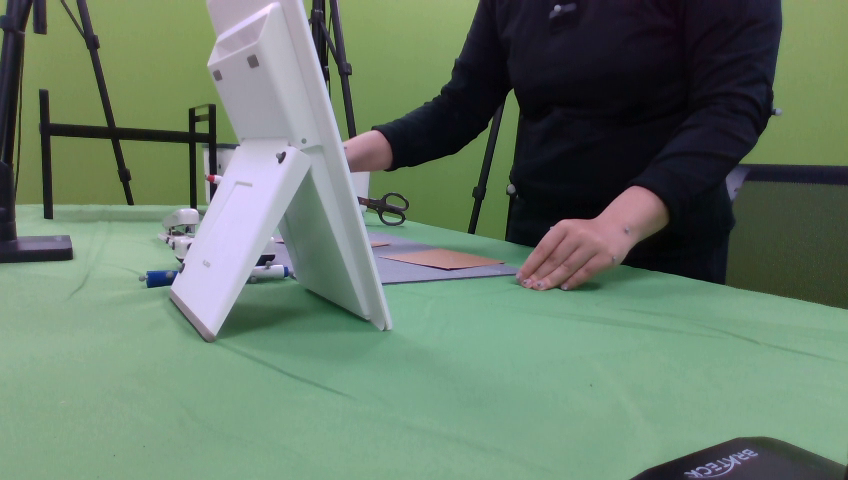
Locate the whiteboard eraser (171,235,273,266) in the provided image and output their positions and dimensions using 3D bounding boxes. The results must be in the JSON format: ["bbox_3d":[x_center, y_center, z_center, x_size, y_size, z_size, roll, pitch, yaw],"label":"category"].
[{"bbox_3d":[-0.248,0.014,0.747,0.113,0.042,0.055,-1,9,-32],"label":"whiteboard eraser"}]

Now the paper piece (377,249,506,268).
[{"bbox_3d":[0.026,0.026,0.865,0.134,0.004,0.136,9,9,43],"label":"paper piece"}]

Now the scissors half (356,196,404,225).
[{"bbox_3d":[-0.127,-0.072,1.320,0.175,0.040,0.013,22,7,-6],"label":"scissors half"}]

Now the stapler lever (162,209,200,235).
[{"bbox_3d":[-0.376,-0.031,0.933,0.027,0.040,0.117,0,7,-38],"label":"stapler lever"}]

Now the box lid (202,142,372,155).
[{"bbox_3d":[-0.344,-0.225,1.509,0.373,0.015,0.262,-2,8,-31],"label":"box lid"}]

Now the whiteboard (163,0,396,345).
[{"bbox_3d":[-0.173,-0.053,0.511,0.144,0.305,0.216,-23,19,-26],"label":"whiteboard"}]

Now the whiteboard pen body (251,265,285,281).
[{"bbox_3d":[-0.220,0.039,0.656,0.141,0.017,0.017,-2,9,-31],"label":"whiteboard pen body"}]

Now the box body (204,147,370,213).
[{"bbox_3d":[-0.346,-0.152,1.520,0.366,0.160,0.253,-1,9,-31],"label":"box body"}]

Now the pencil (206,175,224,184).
[{"bbox_3d":[-0.233,-0.075,0.926,0.195,0.012,0.012,11,3,-28],"label":"pencil"}]

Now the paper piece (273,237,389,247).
[{"bbox_3d":[-0.151,0.004,0.978,0.135,0.008,0.139,12,11,34],"label":"paper piece"}]

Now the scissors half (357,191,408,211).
[{"bbox_3d":[-0.123,-0.092,1.316,0.175,0.040,0.013,6,14,-4],"label":"scissors half"}]

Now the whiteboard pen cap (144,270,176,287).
[{"bbox_3d":[-0.271,0.039,0.627,0.033,0.018,0.018,-4,10,-33],"label":"whiteboard pen cap"}]

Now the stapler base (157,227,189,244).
[{"bbox_3d":[-0.376,-0.008,0.935,0.041,0.024,0.130,0,6,-38],"label":"stapler base"}]
